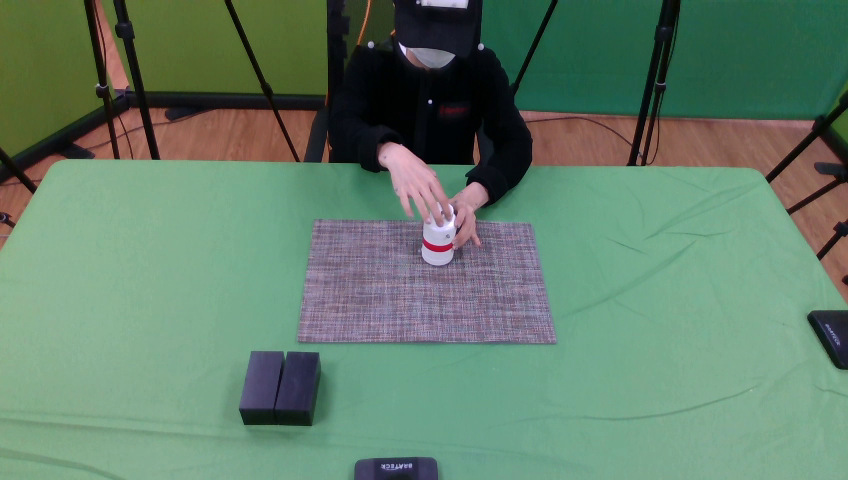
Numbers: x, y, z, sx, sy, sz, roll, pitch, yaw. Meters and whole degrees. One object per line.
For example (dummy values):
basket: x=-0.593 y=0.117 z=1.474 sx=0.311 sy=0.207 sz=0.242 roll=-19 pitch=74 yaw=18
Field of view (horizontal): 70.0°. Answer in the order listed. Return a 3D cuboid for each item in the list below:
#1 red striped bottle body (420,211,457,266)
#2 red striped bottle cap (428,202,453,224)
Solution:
red striped bottle body: x=0.027 y=-0.012 z=1.139 sx=0.063 sy=0.120 sz=0.062 roll=2 pitch=45 yaw=-2
red striped bottle cap: x=0.030 y=-0.050 z=1.101 sx=0.044 sy=0.018 sz=0.044 roll=4 pitch=46 yaw=-4
